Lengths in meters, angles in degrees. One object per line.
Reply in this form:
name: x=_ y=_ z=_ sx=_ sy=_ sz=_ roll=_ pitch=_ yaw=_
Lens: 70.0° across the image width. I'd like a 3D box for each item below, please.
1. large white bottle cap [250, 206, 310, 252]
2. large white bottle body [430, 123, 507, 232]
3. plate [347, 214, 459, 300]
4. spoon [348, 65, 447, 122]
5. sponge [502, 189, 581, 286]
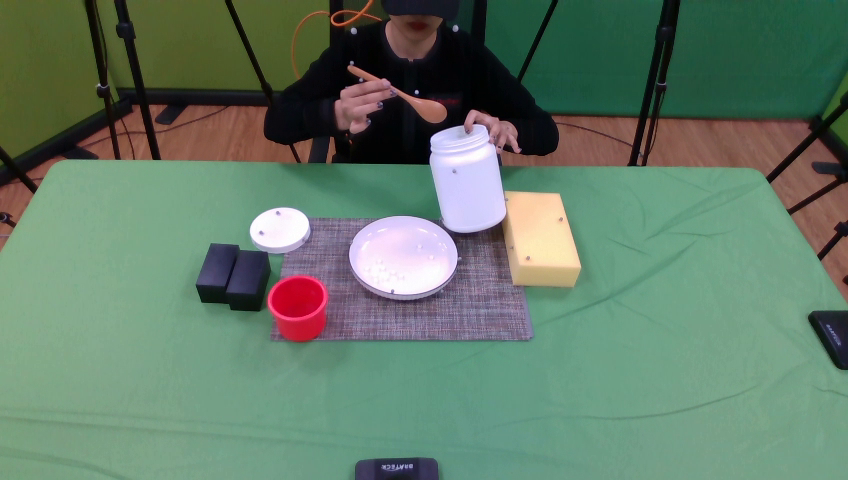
large white bottle cap: x=-0.284 y=-0.023 z=1.197 sx=0.115 sy=0.018 sz=0.114 roll=1 pitch=46 yaw=0
large white bottle body: x=0.083 y=-0.123 z=1.175 sx=0.130 sy=0.185 sz=0.130 roll=-11 pitch=24 yaw=5
plate: x=-0.040 y=0.034 z=1.146 sx=0.209 sy=0.038 sz=0.208 roll=2 pitch=47 yaw=-2
spoon: x=-0.047 y=-0.264 z=1.083 sx=0.194 sy=0.042 sz=0.021 roll=26 pitch=35 yaw=-7
sponge: x=0.224 y=-0.007 z=1.192 sx=0.118 sy=0.061 sz=0.205 roll=1 pitch=47 yaw=-6
